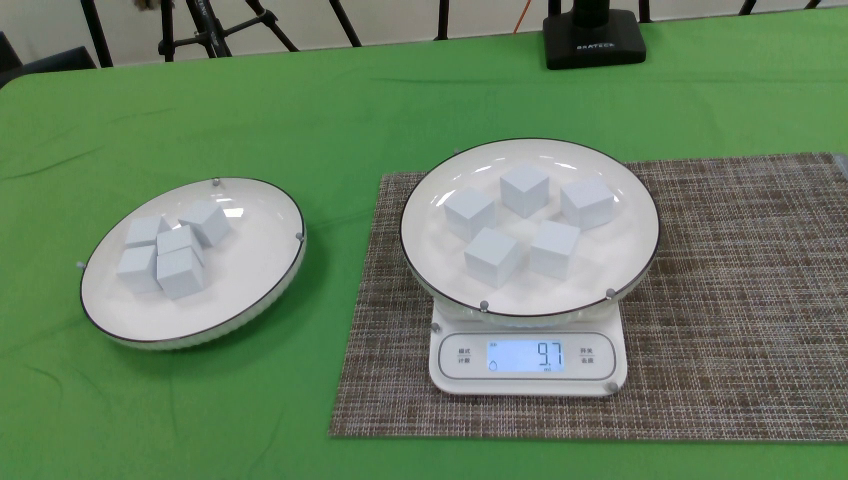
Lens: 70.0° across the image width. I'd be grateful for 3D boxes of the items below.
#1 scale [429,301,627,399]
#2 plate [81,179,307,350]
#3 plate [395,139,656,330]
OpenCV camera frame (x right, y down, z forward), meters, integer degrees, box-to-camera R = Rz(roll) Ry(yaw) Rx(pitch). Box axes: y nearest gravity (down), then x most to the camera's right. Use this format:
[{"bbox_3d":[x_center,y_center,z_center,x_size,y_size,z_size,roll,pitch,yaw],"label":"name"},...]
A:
[{"bbox_3d":[0.084,0.037,0.507,0.148,0.032,0.199,-1,47,9],"label":"scale"},{"bbox_3d":[-0.211,0.022,0.575,0.209,0.038,0.207,-5,45,5],"label":"plate"},{"bbox_3d":[0.081,-0.006,0.504,0.207,0.039,0.205,-4,46,5],"label":"plate"}]
